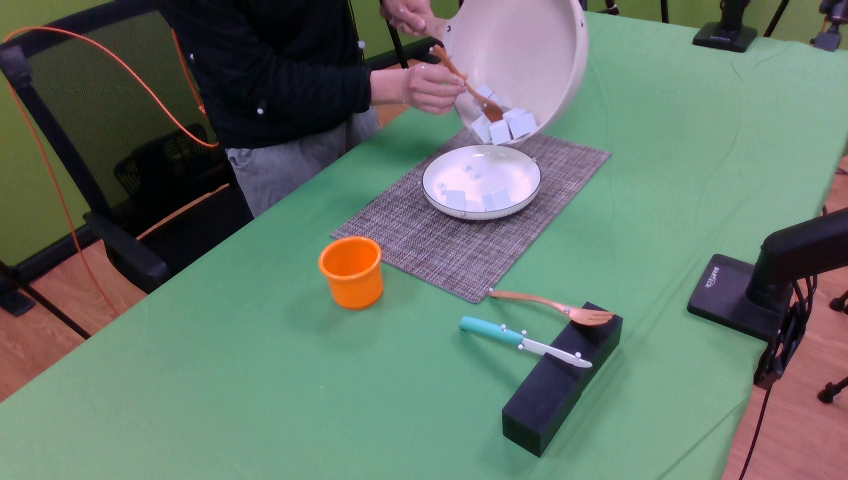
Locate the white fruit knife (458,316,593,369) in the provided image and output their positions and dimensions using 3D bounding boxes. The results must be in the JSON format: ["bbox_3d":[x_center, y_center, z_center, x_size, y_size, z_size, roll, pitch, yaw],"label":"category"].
[{"bbox_3d":[0.120,0.127,0.757,0.205,0.027,0.016,12,44,43],"label":"white fruit knife"}]

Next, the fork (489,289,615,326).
[{"bbox_3d":[0.161,0.085,0.801,0.205,0.019,0.028,11,51,48],"label":"fork"}]

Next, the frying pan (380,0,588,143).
[{"bbox_3d":[0.086,-0.358,1.081,0.484,0.307,0.103,33,29,32],"label":"frying pan"}]

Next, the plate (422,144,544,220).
[{"bbox_3d":[0.102,-0.097,1.048,0.207,0.039,0.206,-4,40,4],"label":"plate"}]

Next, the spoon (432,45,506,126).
[{"bbox_3d":[0.076,-0.252,0.997,0.041,0.195,0.021,2,65,45],"label":"spoon"}]
